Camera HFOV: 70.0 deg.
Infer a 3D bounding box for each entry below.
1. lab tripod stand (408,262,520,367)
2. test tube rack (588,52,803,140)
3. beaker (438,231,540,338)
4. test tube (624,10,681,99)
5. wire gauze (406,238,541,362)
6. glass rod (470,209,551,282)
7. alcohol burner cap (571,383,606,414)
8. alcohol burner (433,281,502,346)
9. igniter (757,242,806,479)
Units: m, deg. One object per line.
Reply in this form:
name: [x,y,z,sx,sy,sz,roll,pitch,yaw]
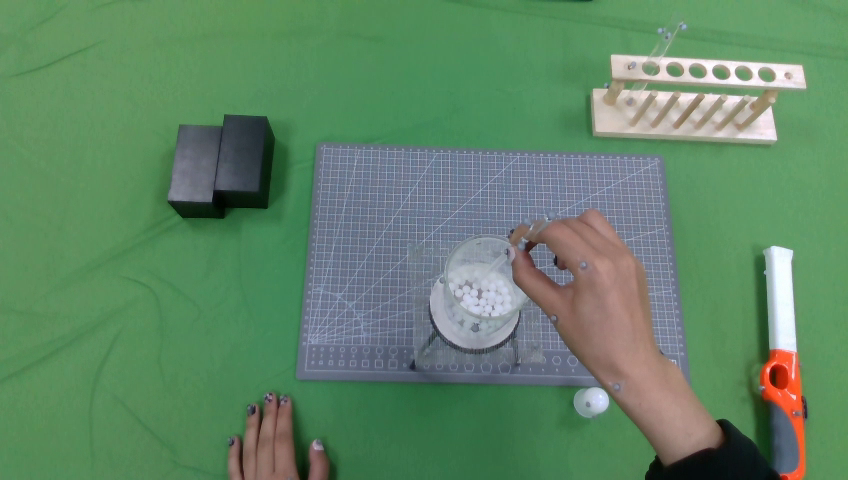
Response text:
lab tripod stand: [0.043,0.081,0.644,0.148,0.132,0.147,0,70,-1]
test tube rack: [0.344,-0.182,0.777,0.242,0.085,0.066,2,71,-2]
beaker: [0.052,0.044,0.536,0.084,0.101,0.073,-2,70,-4]
test tube: [0.273,-0.220,0.734,0.017,0.151,0.017,1,67,-1]
wire gauze: [0.046,0.056,0.582,0.125,0.011,0.120,-2,69,-1]
glass rod: [0.062,0.010,0.484,0.008,0.200,0.008,3,73,-10]
alcohol burner cap: [0.185,0.175,0.671,0.034,0.048,0.033,1,70,-2]
alcohol burner: [0.049,0.077,0.656,0.078,0.120,0.077,2,69,-4]
igniter: [0.413,0.135,0.704,0.057,0.025,0.275,12,71,-10]
